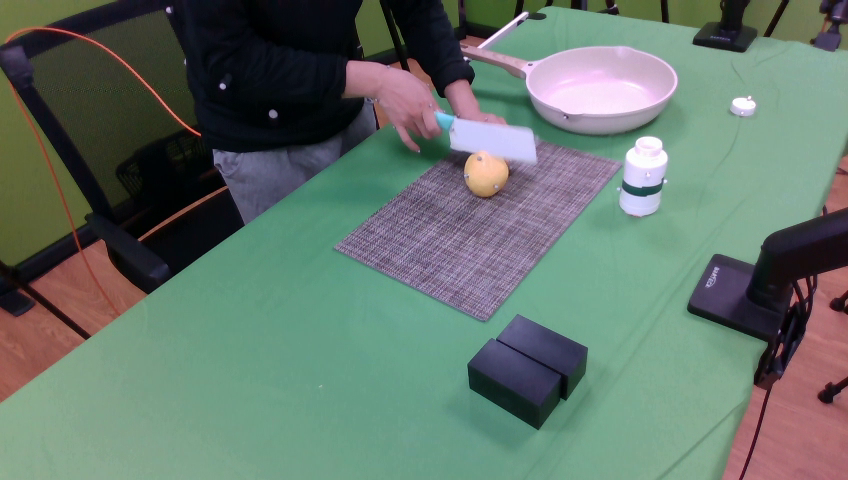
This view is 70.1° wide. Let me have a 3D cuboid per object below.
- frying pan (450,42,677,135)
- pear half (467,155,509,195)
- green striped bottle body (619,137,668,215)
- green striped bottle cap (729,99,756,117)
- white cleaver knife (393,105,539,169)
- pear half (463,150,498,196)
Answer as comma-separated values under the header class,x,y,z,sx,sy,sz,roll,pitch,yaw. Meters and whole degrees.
class,x,y,z,sx,sy,sz,roll,pitch,yaw
frying pan,0.268,-0.344,1.266,0.485,0.103,0.307,25,49,21
pear half,0.111,-0.137,1.037,0.076,0.110,0.056,21,46,25
green striped bottle body,0.350,-0.103,0.963,0.063,0.120,0.063,-4,41,4
green striped bottle cap,0.623,-0.259,1.182,0.044,0.020,0.044,-3,40,3
white cleaver knife,0.061,-0.172,1.010,0.284,0.066,0.021,22,46,30
pear half,0.091,-0.108,1.024,0.070,0.088,0.031,23,51,26
